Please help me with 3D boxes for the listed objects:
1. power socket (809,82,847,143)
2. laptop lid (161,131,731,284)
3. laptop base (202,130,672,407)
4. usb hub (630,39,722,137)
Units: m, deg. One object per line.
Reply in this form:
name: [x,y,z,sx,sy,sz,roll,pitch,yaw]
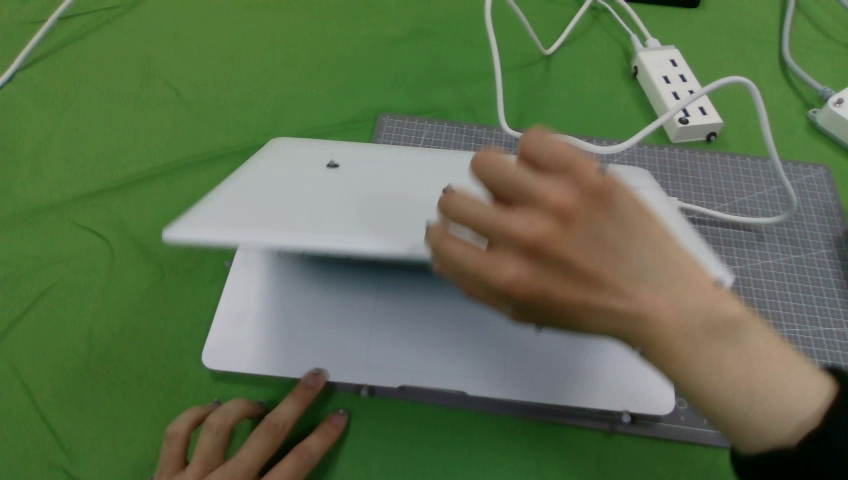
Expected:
power socket: [0.487,-0.081,0.582,0.072,0.033,0.224,-28,60,-20]
laptop lid: [0.019,-0.040,0.465,0.356,0.013,0.240,6,26,4]
laptop base: [0.018,0.013,0.513,0.354,0.023,0.233,5,59,3]
usb hub: [0.261,-0.162,0.636,0.049,0.025,0.124,-7,56,-6]
